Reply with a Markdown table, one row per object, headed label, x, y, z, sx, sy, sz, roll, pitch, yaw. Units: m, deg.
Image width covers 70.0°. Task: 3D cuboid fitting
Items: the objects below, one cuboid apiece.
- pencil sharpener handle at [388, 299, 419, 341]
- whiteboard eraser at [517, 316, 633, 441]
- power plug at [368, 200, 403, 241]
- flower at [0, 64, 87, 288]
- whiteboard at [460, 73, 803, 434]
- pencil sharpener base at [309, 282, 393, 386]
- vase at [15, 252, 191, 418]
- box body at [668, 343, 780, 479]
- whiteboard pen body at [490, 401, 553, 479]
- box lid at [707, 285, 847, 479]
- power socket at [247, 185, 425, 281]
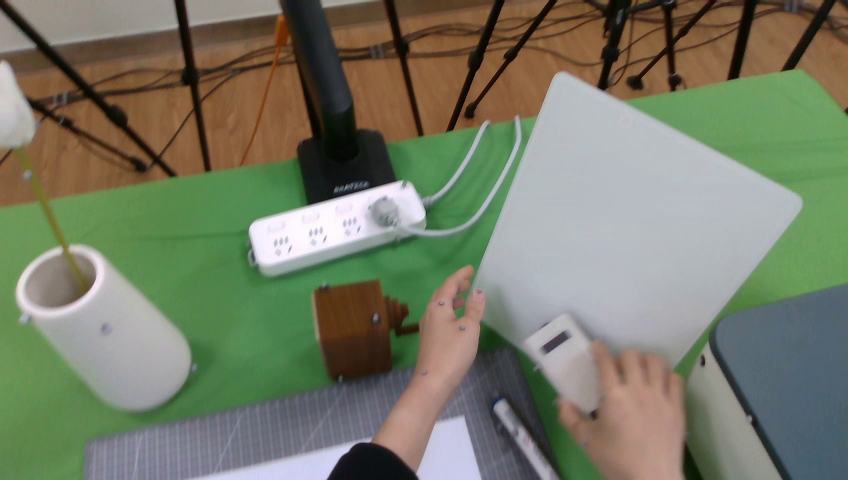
| label | x | y | z | sx | sy | sz | roll | pitch | yaw |
| --- | --- | --- | --- | --- | --- | --- | --- | --- | --- |
| pencil sharpener handle | -0.020 | 0.083 | 0.620 | 0.031 | 0.068 | 0.035 | -9 | 56 | -8 |
| whiteboard eraser | 0.144 | 0.132 | 0.584 | 0.055 | 0.042 | 0.112 | -38 | 74 | 1 |
| power plug | -0.046 | -0.016 | 0.719 | 0.035 | 0.053 | 0.072 | -8 | 57 | -6 |
| flower | -0.290 | 0.030 | 0.509 | 0.038 | 0.365 | 0.043 | -21 | 40 | -23 |
| whiteboard | 0.200 | 0.004 | 0.611 | 0.215 | 0.307 | 0.144 | 36 | 43 | 22 |
| pencil sharpener base | -0.071 | 0.098 | 0.623 | 0.077 | 0.108 | 0.060 | -9 | 55 | -8 |
| vase | -0.293 | 0.093 | 0.566 | 0.098 | 0.202 | 0.097 | 0 | 55 | 1 |
| box body | 0.406 | 0.234 | 0.506 | 0.254 | 0.162 | 0.360 | -12 | 57 | -9 |
| whiteboard pen body | 0.108 | 0.221 | 0.595 | 0.017 | 0.017 | 0.139 | -25 | 63 | -17 |
| box lid | 0.406 | 0.189 | 0.446 | 0.264 | 0.015 | 0.367 | -12 | 56 | -10 |
| power socket | -0.105 | -0.010 | 0.742 | 0.227 | 0.033 | 0.071 | -16 | 58 | -13 |
